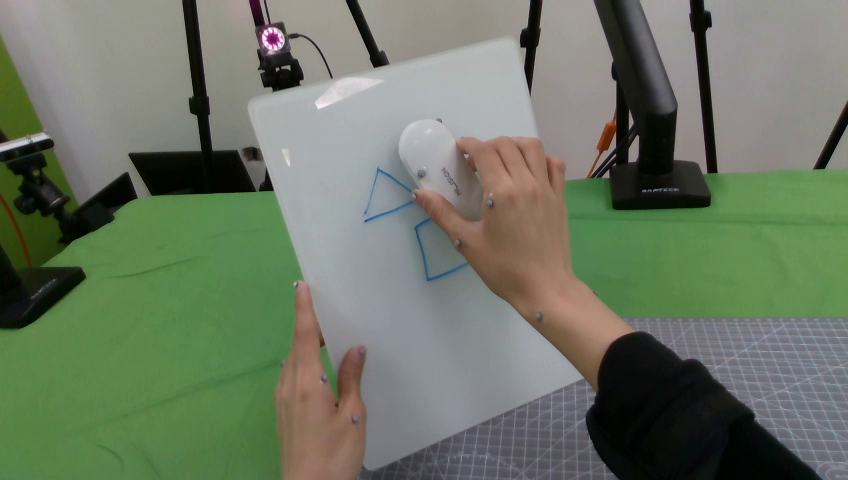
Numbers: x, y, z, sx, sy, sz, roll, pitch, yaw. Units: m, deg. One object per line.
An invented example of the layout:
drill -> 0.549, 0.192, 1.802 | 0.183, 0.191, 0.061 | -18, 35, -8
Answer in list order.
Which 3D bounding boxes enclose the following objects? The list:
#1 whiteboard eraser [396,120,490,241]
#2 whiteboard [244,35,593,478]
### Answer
whiteboard eraser -> 0.015, -0.044, 0.455 | 0.041, 0.102, 0.018 | -41, 24, -17
whiteboard -> -0.007, 0.006, 0.544 | 0.217, 0.306, 0.143 | -19, 12, -15
